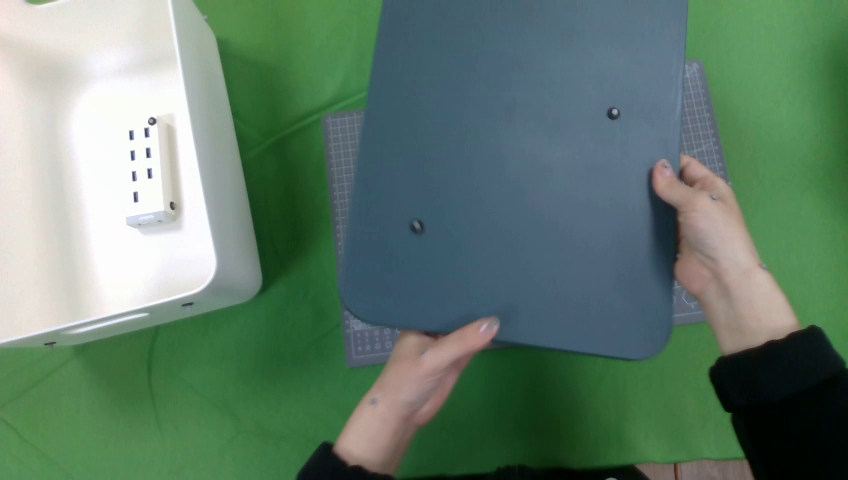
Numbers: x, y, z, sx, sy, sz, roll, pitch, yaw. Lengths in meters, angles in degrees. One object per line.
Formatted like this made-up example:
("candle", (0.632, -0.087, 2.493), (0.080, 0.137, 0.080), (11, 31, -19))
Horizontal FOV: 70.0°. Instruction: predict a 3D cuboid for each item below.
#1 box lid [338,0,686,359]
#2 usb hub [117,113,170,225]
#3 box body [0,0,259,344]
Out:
("box lid", (0.083, -0.097, 0.500), (0.263, 0.015, 0.370), (8, 78, -2))
("usb hub", (-0.325, -0.083, 0.702), (0.049, 0.025, 0.124), (-8, 80, 2))
("box body", (-0.341, -0.087, 0.641), (0.254, 0.161, 0.362), (-14, 80, 0))
